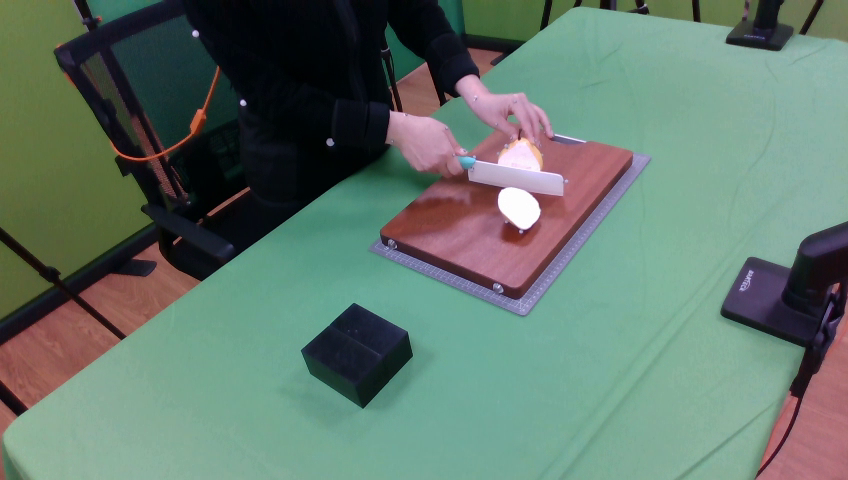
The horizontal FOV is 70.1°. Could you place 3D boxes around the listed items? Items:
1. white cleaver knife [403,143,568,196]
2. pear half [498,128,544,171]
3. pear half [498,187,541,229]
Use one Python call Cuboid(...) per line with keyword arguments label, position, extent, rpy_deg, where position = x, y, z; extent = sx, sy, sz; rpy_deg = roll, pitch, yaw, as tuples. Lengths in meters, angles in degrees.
Cuboid(label="white cleaver knife", position=(0.098, -0.113, 1.012), extent=(0.285, 0.066, 0.021), rpy_deg=(14, 60, 14))
Cuboid(label="pear half", position=(0.165, -0.146, 1.014), extent=(0.076, 0.110, 0.056), rpy_deg=(7, 43, 11))
Cuboid(label="pear half", position=(0.149, -0.045, 0.957), extent=(0.070, 0.031, 0.087), rpy_deg=(3, 52, -8))
